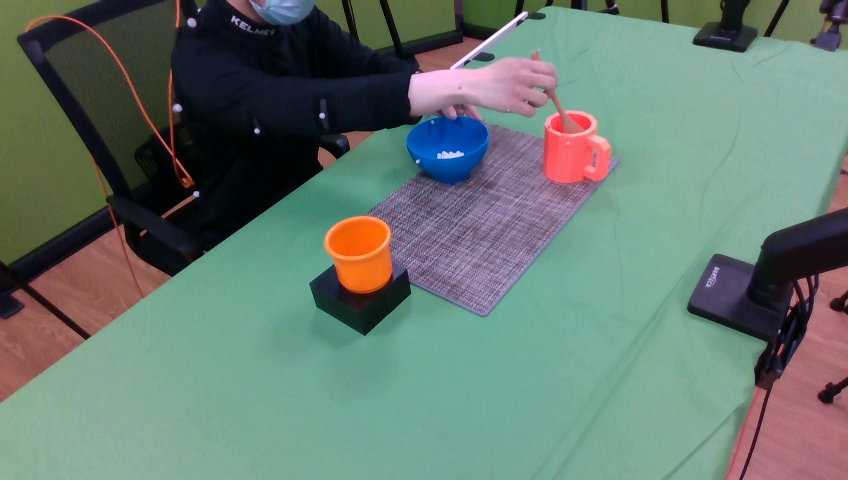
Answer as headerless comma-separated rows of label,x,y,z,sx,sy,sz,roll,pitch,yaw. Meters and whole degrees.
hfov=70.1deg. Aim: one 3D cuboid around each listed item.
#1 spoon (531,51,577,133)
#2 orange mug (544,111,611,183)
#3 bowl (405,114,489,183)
spoon,0.219,-0.224,0.999,0.041,0.194,0.022,2,38,51
orange mug,0.266,-0.157,1.049,0.084,0.101,0.125,-33,42,-27
bowl,0.045,-0.157,1.096,0.151,0.077,0.150,-4,41,4
